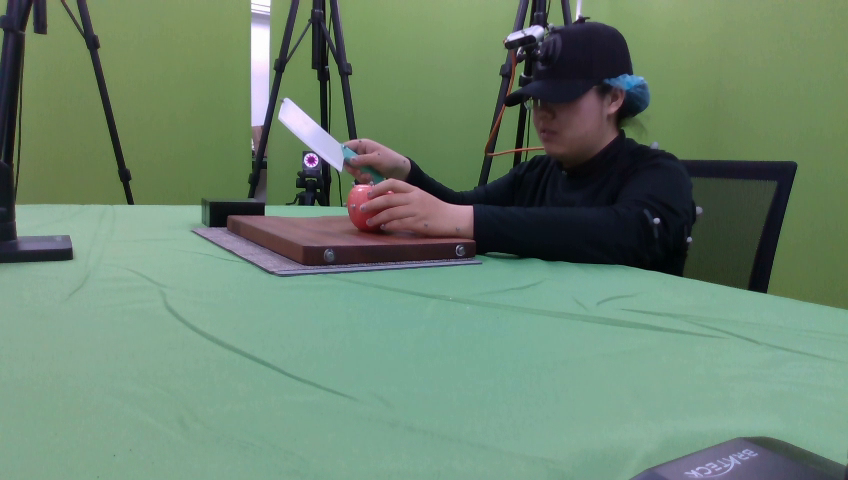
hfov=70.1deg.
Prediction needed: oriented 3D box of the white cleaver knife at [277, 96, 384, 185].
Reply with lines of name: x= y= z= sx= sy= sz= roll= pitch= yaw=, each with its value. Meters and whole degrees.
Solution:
white cleaver knife: x=-0.166 y=-0.162 z=1.111 sx=0.021 sy=0.066 sz=0.288 roll=-13 pitch=-32 yaw=32

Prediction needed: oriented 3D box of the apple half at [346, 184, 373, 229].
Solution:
apple half: x=-0.104 y=-0.056 z=0.973 sx=0.032 sy=0.081 sz=0.082 roll=13 pitch=12 yaw=32

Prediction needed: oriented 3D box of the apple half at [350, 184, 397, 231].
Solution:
apple half: x=-0.072 y=-0.050 z=0.953 sx=0.053 sy=0.074 sz=0.081 roll=13 pitch=8 yaw=32
